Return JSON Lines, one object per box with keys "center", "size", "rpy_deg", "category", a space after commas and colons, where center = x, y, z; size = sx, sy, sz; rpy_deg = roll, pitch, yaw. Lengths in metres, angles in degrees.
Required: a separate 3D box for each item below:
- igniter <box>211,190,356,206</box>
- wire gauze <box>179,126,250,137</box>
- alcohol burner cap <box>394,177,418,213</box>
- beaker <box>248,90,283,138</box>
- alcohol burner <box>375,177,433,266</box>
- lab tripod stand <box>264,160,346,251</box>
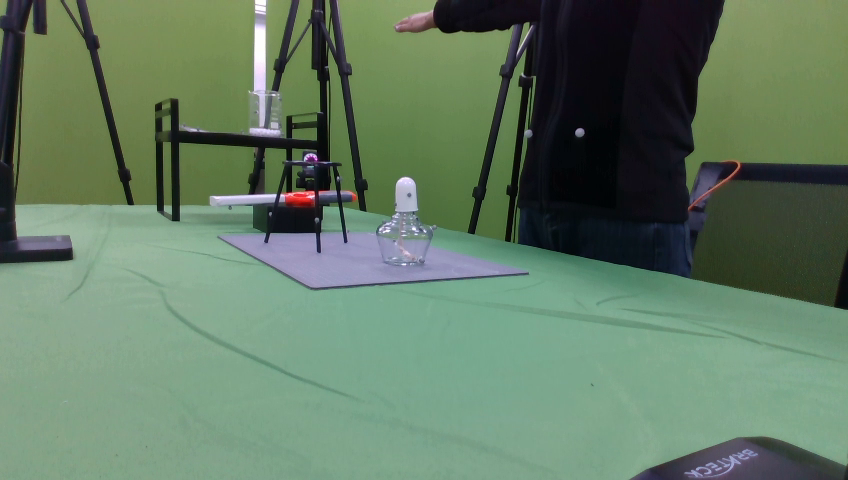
{"center": [-0.260, -0.080, 1.151], "size": [0.278, 0.025, 0.057], "rpy_deg": [-5, 13, -34], "category": "igniter"}
{"center": [-0.439, -0.227, 1.266], "size": [0.122, 0.011, 0.124], "rpy_deg": [1, 9, -34], "category": "wire gauze"}
{"center": [-0.025, -0.060, 0.809], "size": [0.034, 0.048, 0.034], "rpy_deg": [-4, 10, 1], "category": "alcohol burner cap"}
{"center": [-0.354, -0.278, 1.340], "size": [0.074, 0.100, 0.084], "rpy_deg": [6, 9, 26], "category": "beaker"}
{"center": [-0.026, -0.025, 0.815], "size": [0.078, 0.119, 0.078], "rpy_deg": [5, 7, 0], "category": "alcohol burner"}
{"center": [-0.177, -0.057, 0.929], "size": [0.148, 0.131, 0.148], "rpy_deg": [1, 9, 0], "category": "lab tripod stand"}
